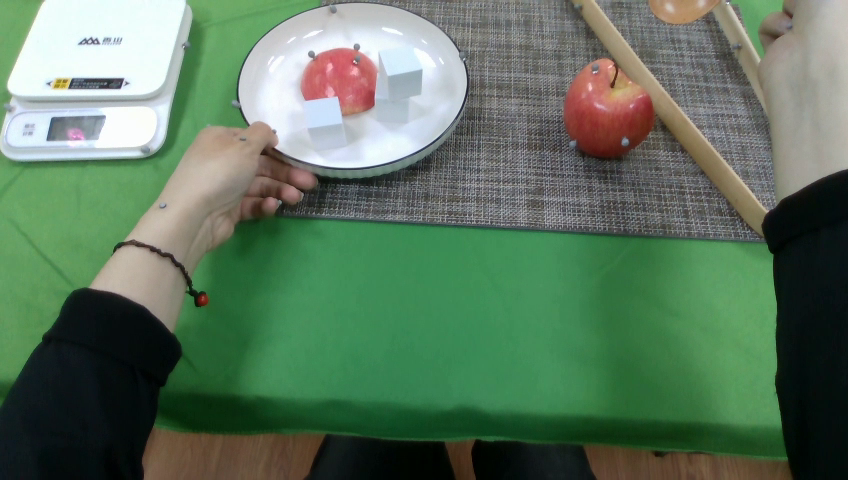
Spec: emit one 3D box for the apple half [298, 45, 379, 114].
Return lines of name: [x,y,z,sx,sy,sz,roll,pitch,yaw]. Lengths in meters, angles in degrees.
apple half: [-0.080,-0.156,0.563,0.081,0.033,0.080,0,57,0]

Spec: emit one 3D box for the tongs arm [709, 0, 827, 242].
tongs arm: [0.298,-0.171,0.588,0.051,0.027,0.381,-7,61,-6]

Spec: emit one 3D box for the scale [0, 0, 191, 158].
scale: [-0.310,-0.165,0.579,0.149,0.032,0.199,-1,60,-1]

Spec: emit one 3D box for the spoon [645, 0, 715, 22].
spoon: [0.255,-0.209,0.433,0.193,0.022,0.041,-21,78,19]

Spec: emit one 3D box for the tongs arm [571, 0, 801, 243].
tongs arm: [0.217,-0.154,0.579,0.028,0.028,0.383,-18,62,-15]

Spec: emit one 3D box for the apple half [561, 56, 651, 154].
apple half: [0.149,-0.110,0.526,0.053,0.075,0.080,-31,68,-13]

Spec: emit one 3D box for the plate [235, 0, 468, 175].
plate: [-0.065,-0.140,0.560,0.209,0.038,0.207,1,60,-1]
